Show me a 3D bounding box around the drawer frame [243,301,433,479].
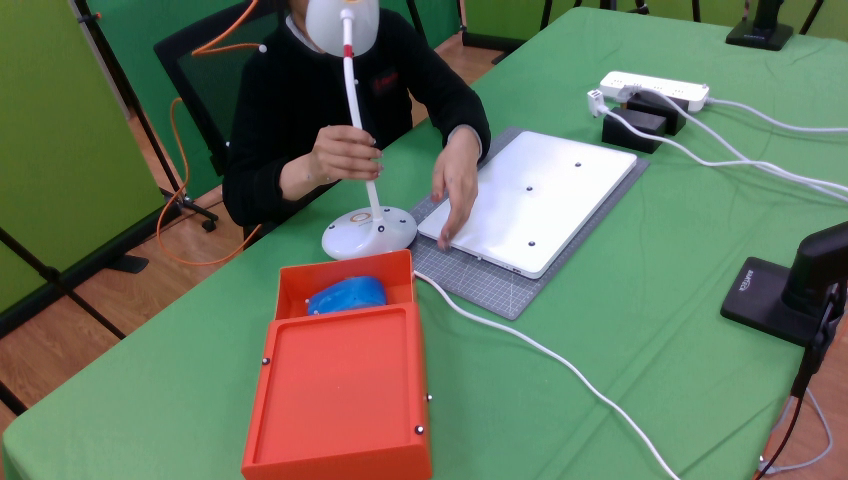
[{"bbox_3d":[-0.096,0.185,0.738,0.202,0.083,0.212,-8,40,1],"label":"drawer frame"}]

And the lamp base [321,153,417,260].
[{"bbox_3d":[-0.093,-0.071,0.950,0.161,0.181,0.177,-25,38,-23],"label":"lamp base"}]

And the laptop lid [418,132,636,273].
[{"bbox_3d":[0.181,-0.084,1.036,0.239,0.013,0.358,22,49,35],"label":"laptop lid"}]

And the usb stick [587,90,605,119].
[{"bbox_3d":[0.334,-0.258,1.170,0.021,0.059,0.027,-28,44,-5],"label":"usb stick"}]

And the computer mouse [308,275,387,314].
[{"bbox_3d":[-0.113,0.089,0.881,0.117,0.041,0.062,-16,42,0],"label":"computer mouse"}]

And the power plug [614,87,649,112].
[{"bbox_3d":[0.406,-0.275,1.192,0.035,0.053,0.072,-16,24,-15],"label":"power plug"}]

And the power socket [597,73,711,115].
[{"bbox_3d":[0.469,-0.304,1.249,0.225,0.033,0.072,20,49,30],"label":"power socket"}]

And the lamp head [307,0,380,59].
[{"bbox_3d":[-0.114,-0.344,0.896,0.113,0.122,0.112,3,78,-14],"label":"lamp head"}]

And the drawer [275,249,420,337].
[{"bbox_3d":[-0.104,0.117,0.825,0.194,0.073,0.210,-8,40,1],"label":"drawer"}]

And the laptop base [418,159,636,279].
[{"bbox_3d":[0.185,-0.074,1.042,0.233,0.023,0.355,20,48,35],"label":"laptop base"}]

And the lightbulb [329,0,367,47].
[{"bbox_3d":[-0.113,-0.338,0.920,0.060,0.107,0.059,3,75,-11],"label":"lightbulb"}]
